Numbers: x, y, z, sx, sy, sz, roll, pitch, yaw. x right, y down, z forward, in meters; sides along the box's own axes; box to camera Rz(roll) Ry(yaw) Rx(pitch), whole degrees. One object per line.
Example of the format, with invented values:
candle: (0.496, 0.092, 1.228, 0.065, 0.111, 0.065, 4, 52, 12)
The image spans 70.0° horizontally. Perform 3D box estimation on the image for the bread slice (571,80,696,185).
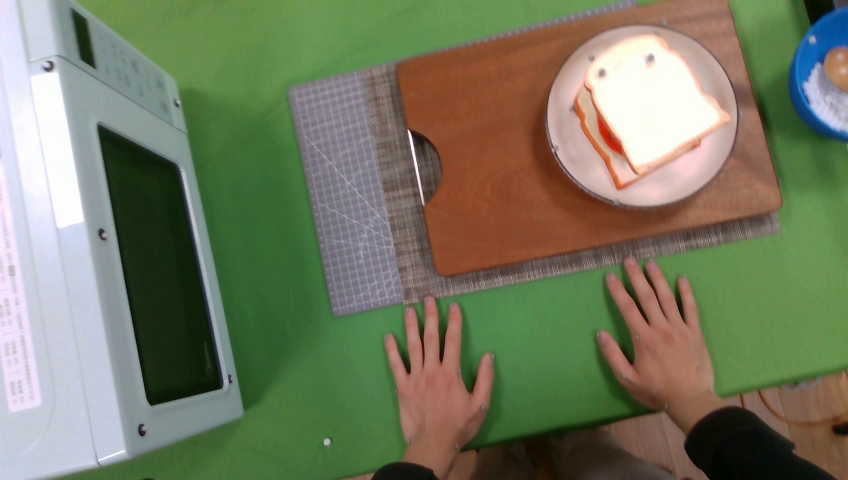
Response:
bread slice: (0.231, -0.141, 0.691, 0.105, 0.019, 0.131, -30, 84, 0)

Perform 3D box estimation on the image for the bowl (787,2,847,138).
bowl: (0.473, -0.178, 0.677, 0.151, 0.077, 0.151, -1, 84, 6)

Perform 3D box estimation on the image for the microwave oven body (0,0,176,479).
microwave oven body: (-0.431, 0.022, 0.648, 0.326, 0.261, 0.440, -15, 83, 3)

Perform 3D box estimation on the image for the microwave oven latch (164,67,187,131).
microwave oven latch: (-0.321, -0.173, 0.756, 0.030, 0.029, 0.079, -15, 83, 3)

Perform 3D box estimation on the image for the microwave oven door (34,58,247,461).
microwave oven door: (-0.280, 0.024, 0.628, 0.039, 0.244, 0.354, -15, 82, 4)

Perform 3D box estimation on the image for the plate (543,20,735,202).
plate: (0.238, -0.143, 0.687, 0.207, 0.039, 0.207, -1, 84, 6)

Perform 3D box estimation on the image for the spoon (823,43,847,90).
spoon: (0.483, -0.135, 0.641, 0.041, 0.022, 0.192, -13, 59, 1)

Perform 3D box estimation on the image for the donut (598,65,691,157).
donut: (0.238, -0.139, 0.658, 0.099, 0.048, 0.099, 0, 87, -1)

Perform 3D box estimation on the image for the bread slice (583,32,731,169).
bread slice: (0.230, -0.150, 0.630, 0.107, 0.018, 0.133, -34, 76, 2)
